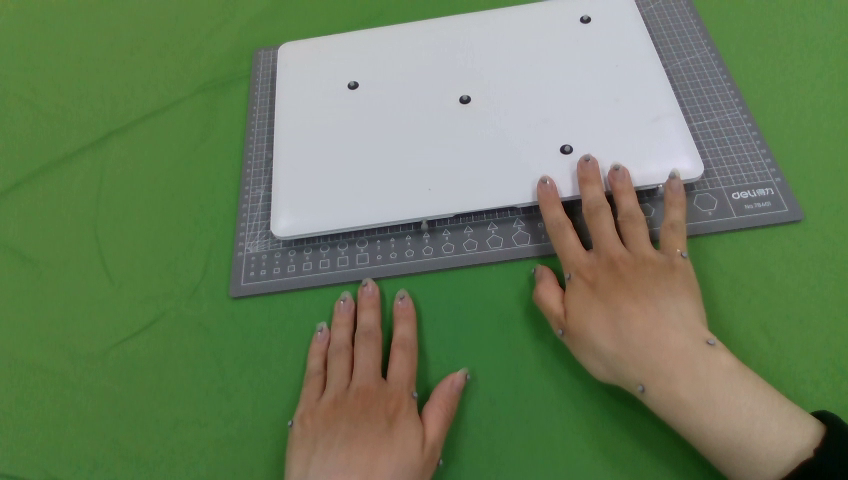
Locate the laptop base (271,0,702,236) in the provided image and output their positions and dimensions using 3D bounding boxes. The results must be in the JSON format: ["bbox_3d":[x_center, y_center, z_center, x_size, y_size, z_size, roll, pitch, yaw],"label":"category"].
[{"bbox_3d":[0.039,-0.122,0.550,0.354,0.023,0.233,-8,61,2],"label":"laptop base"}]

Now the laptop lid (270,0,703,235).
[{"bbox_3d":[0.038,-0.126,0.539,0.356,0.013,0.239,-6,60,3],"label":"laptop lid"}]
